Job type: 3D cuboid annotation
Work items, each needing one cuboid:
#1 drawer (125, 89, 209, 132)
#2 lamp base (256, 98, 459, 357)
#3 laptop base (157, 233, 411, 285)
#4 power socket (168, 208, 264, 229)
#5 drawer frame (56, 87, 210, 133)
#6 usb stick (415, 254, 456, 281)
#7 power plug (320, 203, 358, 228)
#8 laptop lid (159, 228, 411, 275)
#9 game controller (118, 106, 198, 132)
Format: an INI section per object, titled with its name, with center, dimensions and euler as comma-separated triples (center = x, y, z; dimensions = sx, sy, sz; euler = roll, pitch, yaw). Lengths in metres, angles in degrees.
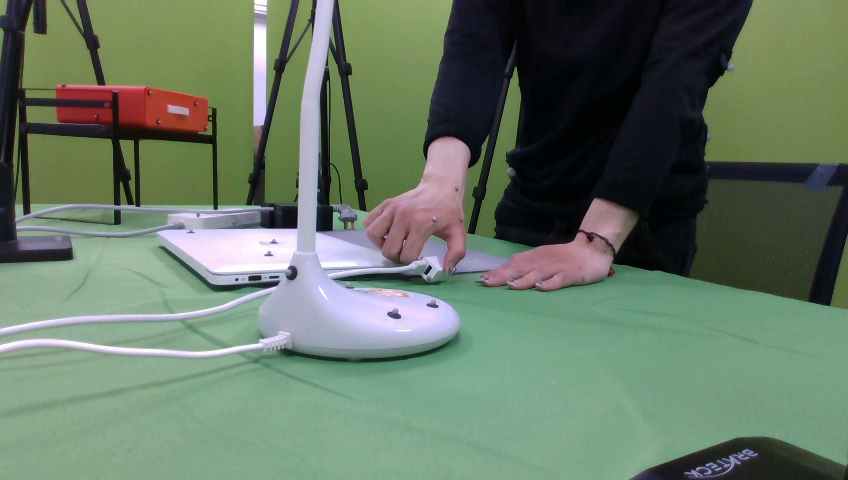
[drawer]
center = -0.595, -0.268, 1.263
dimensions = 0.211, 0.073, 0.195
euler = 4, 8, 15
[lamp base]
center = -0.055, -0.014, 0.463
dimensions = 0.160, 0.180, 0.180
euler = 6, 11, 27
[laptop base]
center = -0.204, 0.019, 0.806
dimensions = 0.237, 0.023, 0.352
euler = 0, 7, -33
[power socket]
center = -0.381, -0.038, 1.128
dimensions = 0.072, 0.032, 0.227
euler = 4, 8, 16
[drawer frame]
center = -0.598, -0.269, 1.261
dimensions = 0.213, 0.082, 0.202
euler = 4, 8, 14
[usb stick]
center = 0.017, 0.032, 0.710
dimensions = 0.027, 0.021, 0.059
euler = 43, 19, 25
[power plug]
center = -0.170, -0.047, 1.210
dimensions = 0.073, 0.052, 0.035
euler = -5, -14, -6
[laptop lid]
center = -0.201, 0.007, 0.806
dimensions = 0.243, 0.013, 0.355
euler = -1, 8, -31
[game controller]
center = -0.555, -0.252, 1.255
dimensions = 0.097, 0.051, 0.155
euler = 7, 11, 18
